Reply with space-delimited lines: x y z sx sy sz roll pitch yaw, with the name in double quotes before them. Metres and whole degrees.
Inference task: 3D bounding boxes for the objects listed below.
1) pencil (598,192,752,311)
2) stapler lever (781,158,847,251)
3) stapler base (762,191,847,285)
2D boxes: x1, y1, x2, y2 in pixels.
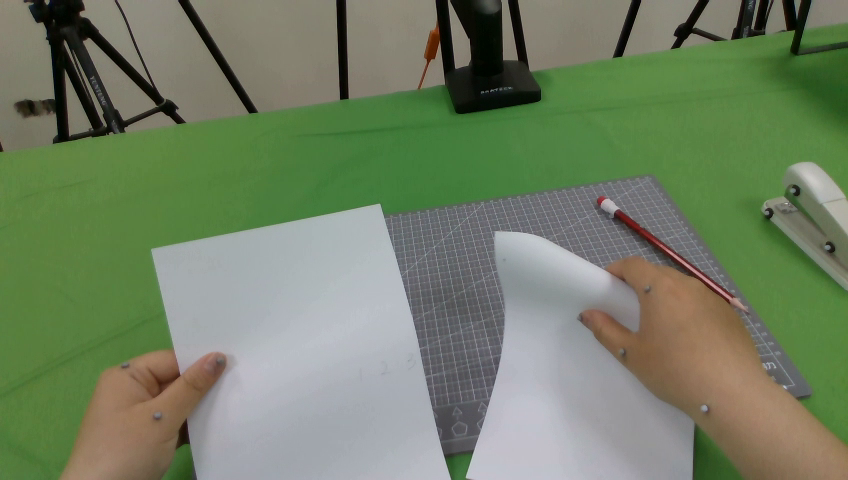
"pencil" 0.223 0.006 0.557 0.012 0.012 0.192 -21 41 -15
"stapler lever" 0.359 -0.029 0.530 0.027 0.040 0.116 -14 41 -3
"stapler base" 0.362 -0.011 0.548 0.041 0.025 0.129 -14 41 -3
